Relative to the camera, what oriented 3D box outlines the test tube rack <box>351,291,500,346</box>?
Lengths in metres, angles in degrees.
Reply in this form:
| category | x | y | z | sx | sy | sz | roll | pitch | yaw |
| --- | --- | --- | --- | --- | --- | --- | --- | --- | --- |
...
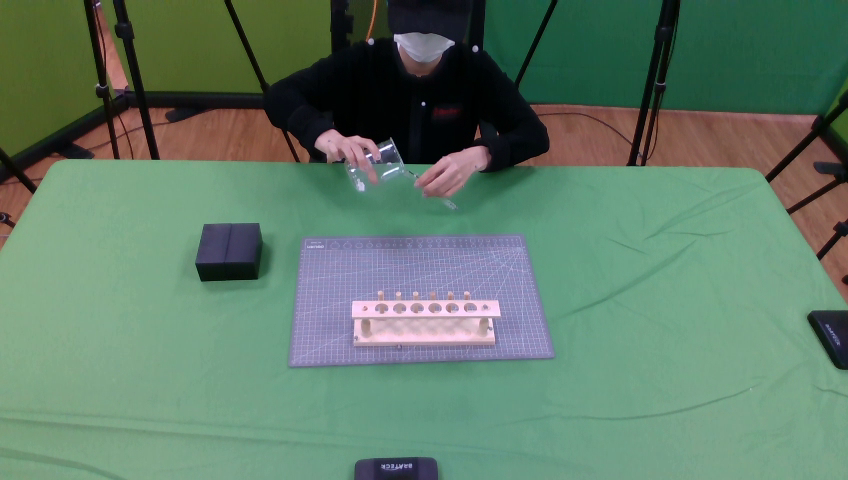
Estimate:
| category | x | y | z | sx | sy | sz | roll | pitch | yaw |
| --- | --- | --- | --- | --- | --- | --- | --- | --- | --- |
| test tube rack | 0.001 | 0.129 | 1.026 | 0.242 | 0.085 | 0.066 | 0 | 46 | -4 |

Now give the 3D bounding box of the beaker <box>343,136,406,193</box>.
| category | x | y | z | sx | sy | sz | roll | pitch | yaw |
| --- | --- | --- | --- | --- | --- | --- | --- | --- | --- |
| beaker | -0.092 | -0.135 | 1.123 | 0.100 | 0.084 | 0.073 | -24 | 39 | 2 |

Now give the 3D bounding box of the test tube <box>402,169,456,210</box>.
| category | x | y | z | sx | sy | sz | roll | pitch | yaw |
| --- | --- | --- | --- | --- | --- | --- | --- | --- | --- |
| test tube | 0.012 | -0.097 | 1.193 | 0.151 | 0.017 | 0.017 | 32 | 30 | -38 |
